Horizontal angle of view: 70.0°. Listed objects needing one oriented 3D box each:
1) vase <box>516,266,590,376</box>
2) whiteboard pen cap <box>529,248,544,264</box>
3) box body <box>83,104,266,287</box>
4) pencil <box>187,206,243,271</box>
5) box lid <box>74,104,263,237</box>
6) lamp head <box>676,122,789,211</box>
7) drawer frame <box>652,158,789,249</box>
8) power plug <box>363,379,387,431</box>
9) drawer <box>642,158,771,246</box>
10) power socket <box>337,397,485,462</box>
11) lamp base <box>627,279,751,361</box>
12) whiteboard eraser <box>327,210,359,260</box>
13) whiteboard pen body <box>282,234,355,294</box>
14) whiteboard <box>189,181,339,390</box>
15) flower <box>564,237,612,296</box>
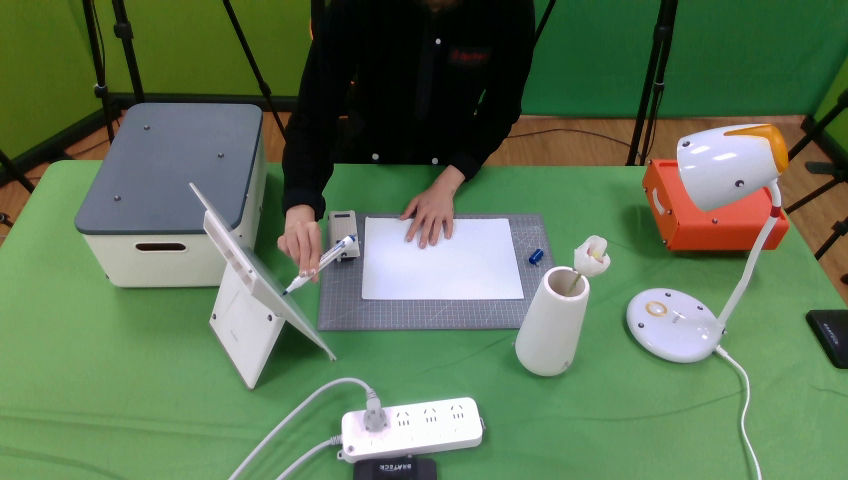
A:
[{"bbox_3d":[0.208,0.132,0.964,0.098,0.201,0.097,3,46,-3],"label":"vase"},{"bbox_3d":[0.219,0.032,1.183,0.018,0.018,0.033,31,51,23],"label":"whiteboard pen cap"},{"bbox_3d":[-0.447,-0.088,1.150,0.254,0.161,0.361,-1,46,-5],"label":"box body"},{"bbox_3d":[-0.401,-0.009,1.176,0.012,0.012,0.193,15,44,10],"label":"pencil"},{"bbox_3d":[-0.443,-0.139,1.095,0.263,0.015,0.369,-1,45,-5],"label":"box lid"},{"bbox_3d":[0.423,-0.104,0.819,0.122,0.113,0.112,-13,33,40],"label":"lamp head"},{"bbox_3d":[0.571,-0.075,1.214,0.214,0.083,0.200,0,45,-1],"label":"drawer frame"},{"bbox_3d":[-0.072,0.252,0.910,0.035,0.053,0.072,3,45,-1],"label":"power plug"},{"bbox_3d":[0.566,-0.076,1.211,0.212,0.073,0.193,2,45,-2],"label":"drawer"},{"bbox_3d":[-0.018,0.285,0.915,0.227,0.033,0.071,-5,46,-8],"label":"power socket"},{"bbox_3d":[0.459,0.100,1.027,0.178,0.181,0.160,27,51,17],"label":"lamp base"},{"bbox_3d":[-0.159,-0.009,1.176,0.055,0.042,0.112,-5,47,-7],"label":"whiteboard eraser"},{"bbox_3d":[-0.162,0.038,0.927,0.140,0.017,0.017,-40,60,-19],"label":"whiteboard pen body"},{"bbox_3d":[-0.292,0.096,0.929,0.144,0.307,0.216,-37,57,-10],"label":"whiteboard"},{"bbox_3d":[0.206,0.088,0.893,0.038,0.363,0.044,-16,67,-9],"label":"flower"}]
